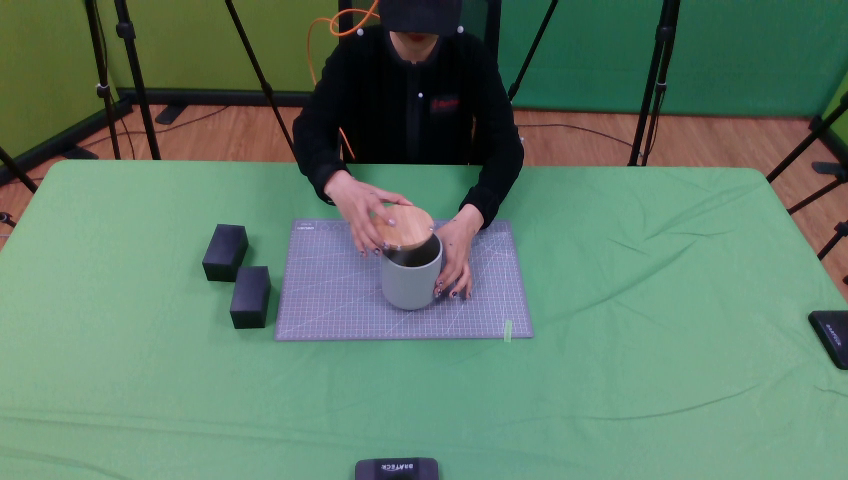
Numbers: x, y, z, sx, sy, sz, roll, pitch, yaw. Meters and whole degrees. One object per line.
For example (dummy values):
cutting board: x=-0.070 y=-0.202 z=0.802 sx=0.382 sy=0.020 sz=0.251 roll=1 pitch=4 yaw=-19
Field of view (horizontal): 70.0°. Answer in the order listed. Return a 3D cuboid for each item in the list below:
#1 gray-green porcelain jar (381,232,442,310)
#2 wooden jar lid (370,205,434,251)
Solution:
gray-green porcelain jar: x=-0.023 y=0.053 z=1.068 sx=0.106 sy=0.127 sz=0.105 roll=2 pitch=46 yaw=-2
wooden jar lid: x=-0.036 y=-0.019 z=1.017 sx=0.108 sy=0.021 sz=0.107 roll=2 pitch=42 yaw=-2
